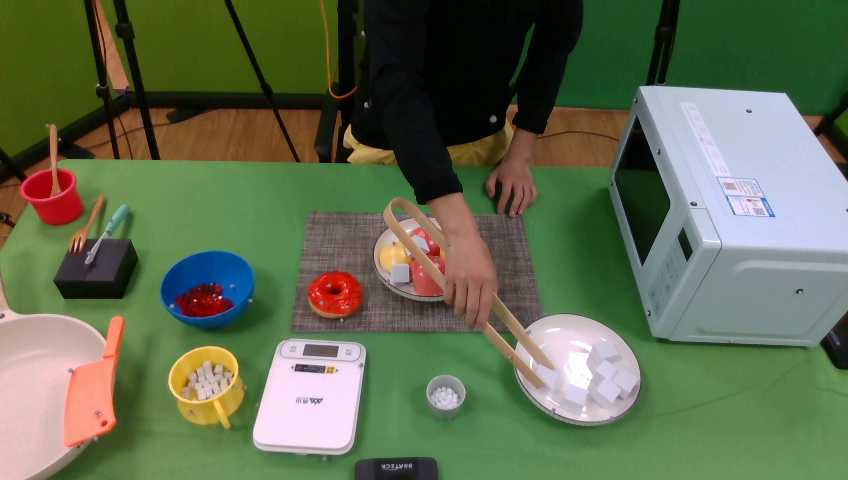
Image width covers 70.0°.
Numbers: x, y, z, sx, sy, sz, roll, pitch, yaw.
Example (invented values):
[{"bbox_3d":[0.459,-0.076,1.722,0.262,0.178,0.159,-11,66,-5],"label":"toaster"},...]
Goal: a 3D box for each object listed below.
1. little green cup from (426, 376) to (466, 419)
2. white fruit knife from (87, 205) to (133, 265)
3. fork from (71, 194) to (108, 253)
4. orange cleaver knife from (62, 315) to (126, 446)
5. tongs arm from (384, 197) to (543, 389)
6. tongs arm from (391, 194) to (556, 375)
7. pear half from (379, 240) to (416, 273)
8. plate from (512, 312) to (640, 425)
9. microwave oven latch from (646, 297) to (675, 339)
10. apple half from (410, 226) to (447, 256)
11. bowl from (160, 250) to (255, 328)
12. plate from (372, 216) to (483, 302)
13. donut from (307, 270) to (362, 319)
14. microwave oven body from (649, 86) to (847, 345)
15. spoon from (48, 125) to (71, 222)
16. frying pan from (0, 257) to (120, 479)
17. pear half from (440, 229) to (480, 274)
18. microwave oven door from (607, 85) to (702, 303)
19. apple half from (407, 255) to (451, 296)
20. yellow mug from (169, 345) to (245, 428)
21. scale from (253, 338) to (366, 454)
[{"bbox_3d":[0.033,0.248,0.950,0.061,0.039,0.061,2,46,-2],"label":"little green cup"},{"bbox_3d":[-0.584,-0.013,1.129,0.016,0.027,0.206,-1,31,-4],"label":"white fruit knife"},{"bbox_3d":[-0.634,-0.036,1.158,0.028,0.019,0.206,-8,31,-8],"label":"fork"},{"bbox_3d":[-0.480,0.199,0.887,0.077,0.012,0.210,-9,47,-8],"label":"orange cleaver knife"},{"bbox_3d":[0.058,0.084,0.978,0.386,0.028,0.028,49,51,8],"label":"tongs arm"},{"bbox_3d":[0.075,0.073,0.998,0.051,0.026,0.384,-29,77,-42],"label":"tongs arm"},{"bbox_3d":[-0.048,0.024,1.146,0.070,0.031,0.087,12,47,-10],"label":"pear half"},{"bbox_3d":[0.246,0.213,0.999,0.208,0.039,0.206,2,46,-2],"label":"plate"},{"bbox_3d":[0.412,0.134,1.061,0.030,0.029,0.078,4,45,1],"label":"microwave oven latch"},{"bbox_3d":[0.010,-0.006,1.176,0.081,0.033,0.081,2,52,-3],"label":"apple half"},{"bbox_3d":[-0.362,0.098,1.039,0.151,0.077,0.150,2,45,-2],"label":"bowl"},{"bbox_3d":[0.006,0.038,1.145,0.209,0.038,0.208,2,46,-2],"label":"plate"},{"bbox_3d":[-0.158,0.097,1.073,0.099,0.048,0.098,4,45,-4],"label":"donut"},{"bbox_3d":[0.567,-0.053,1.118,0.326,0.261,0.439,2,45,-1],"label":"microwave oven body"},{"bbox_3d":[-0.718,-0.131,1.188,0.041,0.021,0.193,-3,90,-7],"label":"spoon"},{"bbox_3d":[-0.647,0.164,0.937,0.307,0.103,0.485,-19,58,-22],"label":"frying pan"},{"bbox_3d":[0.065,0.007,1.150,0.076,0.056,0.109,-10,43,-2],"label":"pear half"},{"bbox_3d":[0.423,-0.094,1.140,0.039,0.245,0.353,2,46,-1],"label":"microwave oven door"},{"bbox_3d":[0.011,0.058,1.103,0.075,0.053,0.080,-6,43,-13],"label":"apple half"},{"bbox_3d":[-0.322,0.230,0.922,0.100,0.064,0.130,-24,53,-25],"label":"yellow mug"},{"bbox_3d":[-0.175,0.236,0.951,0.149,0.032,0.199,4,45,-1],"label":"scale"}]
